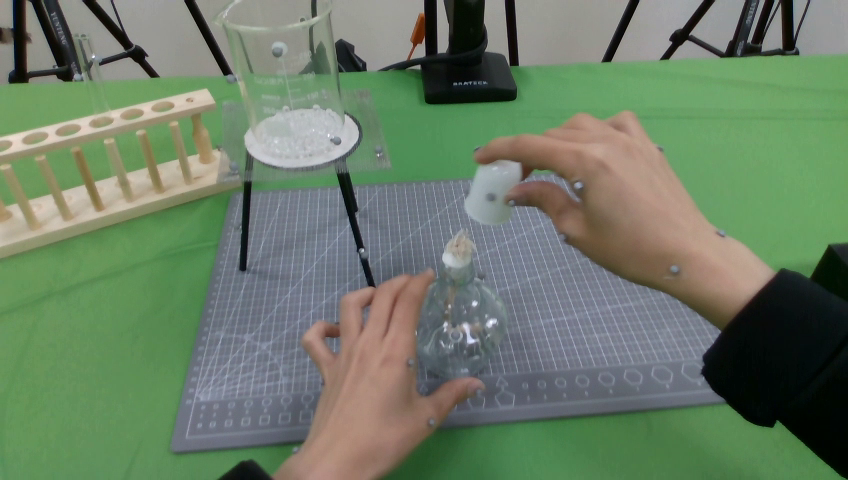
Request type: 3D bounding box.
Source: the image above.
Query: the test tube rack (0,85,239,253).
[{"bbox_3d":[-0.318,-0.072,0.593,0.243,0.086,0.066,-21,46,-21],"label":"test tube rack"}]

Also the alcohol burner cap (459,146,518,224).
[{"bbox_3d":[0.042,-0.038,0.385,0.034,0.048,0.033,7,46,-7],"label":"alcohol burner cap"}]

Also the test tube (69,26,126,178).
[{"bbox_3d":[-0.310,-0.126,0.578,0.017,0.151,0.017,3,36,-1],"label":"test tube"}]

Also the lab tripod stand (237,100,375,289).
[{"bbox_3d":[-0.097,-0.038,0.514,0.148,0.133,0.147,0,44,1],"label":"lab tripod stand"}]

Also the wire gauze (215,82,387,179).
[{"bbox_3d":[-0.098,-0.086,0.470,0.125,0.011,0.120,-10,41,-6],"label":"wire gauze"}]

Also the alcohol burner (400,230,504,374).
[{"bbox_3d":[0.021,0.042,0.440,0.078,0.120,0.077,0,40,0],"label":"alcohol burner"}]

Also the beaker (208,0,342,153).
[{"bbox_3d":[-0.101,-0.120,0.434,0.084,0.101,0.073,-3,42,-1],"label":"beaker"}]
